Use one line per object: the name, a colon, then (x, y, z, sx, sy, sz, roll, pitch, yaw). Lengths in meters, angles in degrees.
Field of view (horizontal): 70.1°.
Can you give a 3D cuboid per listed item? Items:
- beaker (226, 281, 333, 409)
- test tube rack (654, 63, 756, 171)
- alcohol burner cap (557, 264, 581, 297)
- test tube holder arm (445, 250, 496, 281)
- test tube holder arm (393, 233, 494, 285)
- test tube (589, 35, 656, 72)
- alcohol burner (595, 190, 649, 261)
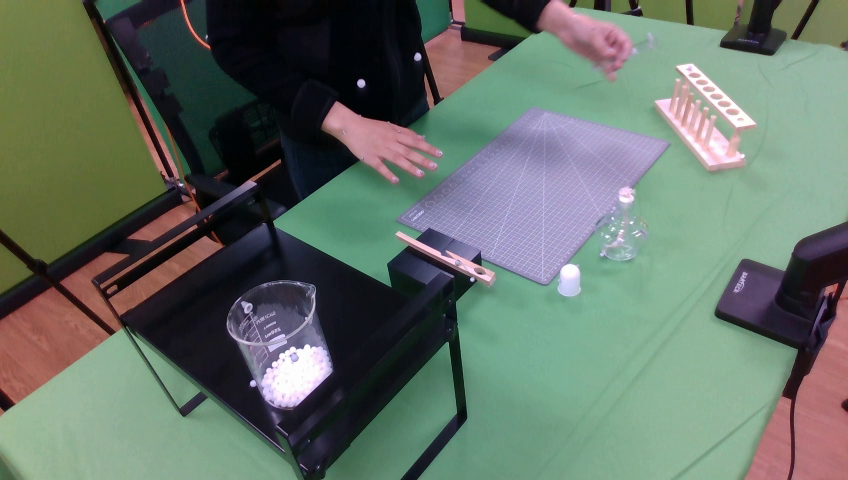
beaker: (-0.123, 0.096, 0.546, 0.073, 0.101, 0.084, 27, 51, 33)
test tube rack: (0.510, -0.233, 1.120, 0.067, 0.085, 0.241, -8, 41, -1)
alcohol burner cap: (0.208, 0.055, 0.866, 0.034, 0.048, 0.033, -4, 42, 4)
test tube holder arm: (0.063, 0.036, 0.851, 0.087, 0.015, 0.010, 23, 57, 32)
test tube holder arm: (0.024, 0.025, 0.871, 0.177, 0.015, 0.013, 22, 56, 31)
test tube: (0.327, -0.308, 1.009, 0.017, 0.017, 0.149, -29, 9, -23)
alcohol burner: (0.294, -0.028, 0.894, 0.078, 0.119, 0.077, -4, 43, 4)
